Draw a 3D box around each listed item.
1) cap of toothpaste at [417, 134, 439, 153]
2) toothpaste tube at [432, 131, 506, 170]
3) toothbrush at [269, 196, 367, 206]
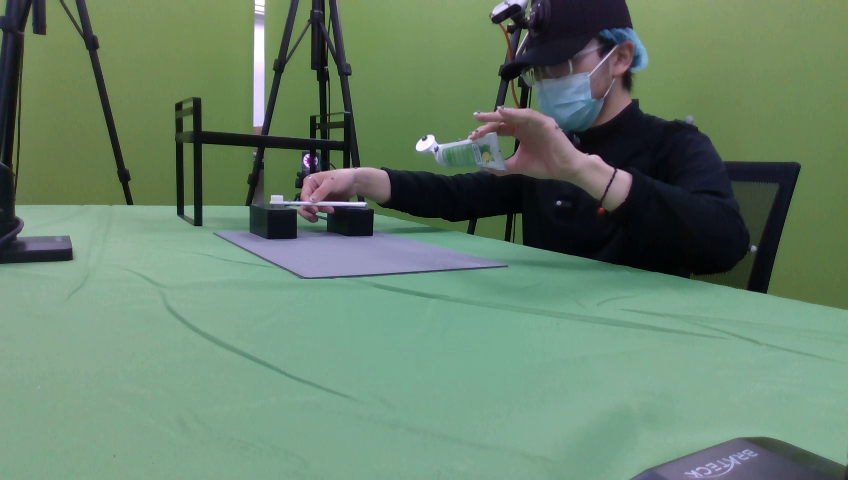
[{"bbox_3d":[0.006,-0.150,0.947,0.037,0.037,0.011,10,-29,43],"label":"cap of toothpaste"},{"bbox_3d":[0.063,-0.129,0.880,0.034,0.055,0.164,-32,21,-23],"label":"toothpaste tube"},{"bbox_3d":[-0.187,-0.069,1.088,0.183,0.016,0.014,0,2,-28],"label":"toothbrush"}]
